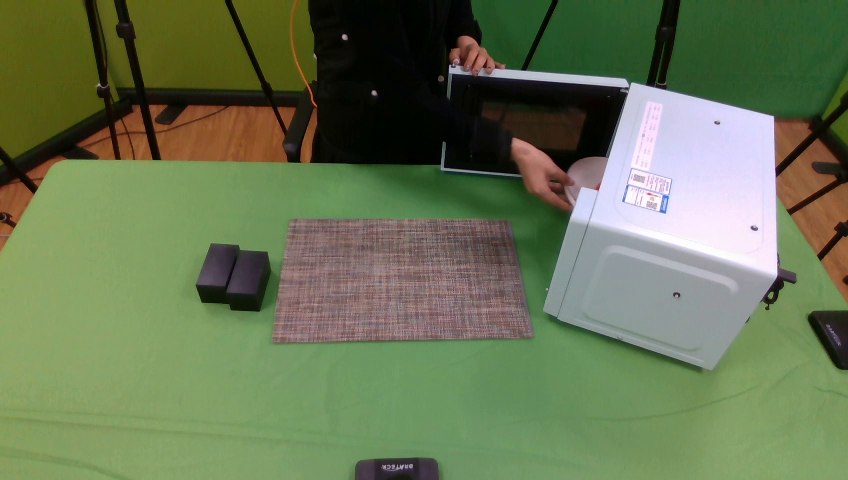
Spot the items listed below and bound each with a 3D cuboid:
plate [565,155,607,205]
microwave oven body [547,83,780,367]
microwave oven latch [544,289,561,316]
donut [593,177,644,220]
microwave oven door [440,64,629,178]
[{"bbox_3d":[0.371,-0.085,1.184,0.209,0.038,0.208,8,48,-9],"label":"plate"},{"bbox_3d":[0.444,-0.041,1.101,0.325,0.261,0.440,17,47,13],"label":"microwave oven body"},{"bbox_3d":[0.237,0.098,1.087,0.030,0.029,0.079,18,47,14],"label":"microwave oven latch"},{"bbox_3d":[0.373,-0.082,1.166,0.099,0.048,0.098,8,49,-9],"label":"donut"},{"bbox_3d":[0.219,-0.241,1.268,0.356,0.245,0.039,5,46,0],"label":"microwave oven door"}]
